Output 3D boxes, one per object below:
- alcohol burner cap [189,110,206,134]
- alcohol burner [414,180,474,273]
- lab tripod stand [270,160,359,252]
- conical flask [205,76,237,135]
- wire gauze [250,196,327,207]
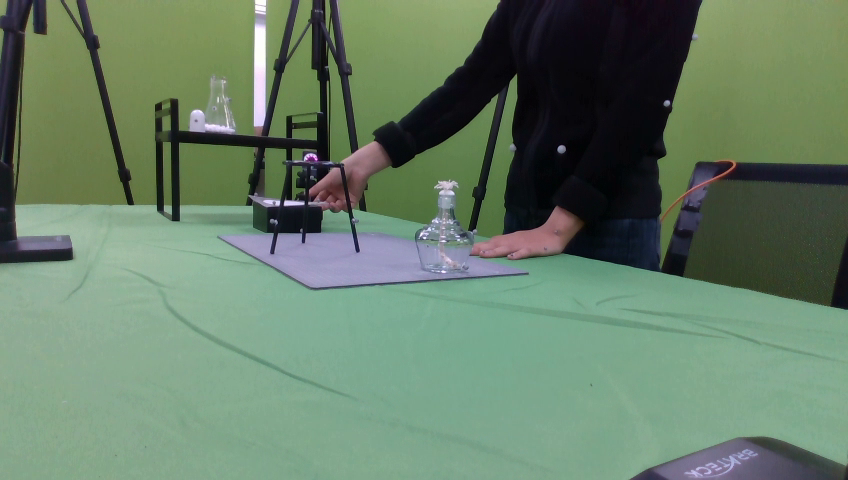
[{"bbox_3d":[-0.464,-0.242,1.240,0.034,0.048,0.034,5,7,0],"label":"alcohol burner cap"},{"bbox_3d":[0.026,-0.017,0.773,0.078,0.119,0.078,4,6,0],"label":"alcohol burner"},{"bbox_3d":[-0.167,-0.051,0.892,0.148,0.131,0.148,3,9,0],"label":"lab tripod stand"},{"bbox_3d":[-0.443,-0.290,1.309,0.075,0.122,0.075,3,7,0],"label":"conical flask"},{"bbox_3d":[-0.259,-0.073,1.150,0.122,0.011,0.124,0,8,-32],"label":"wire gauze"}]
